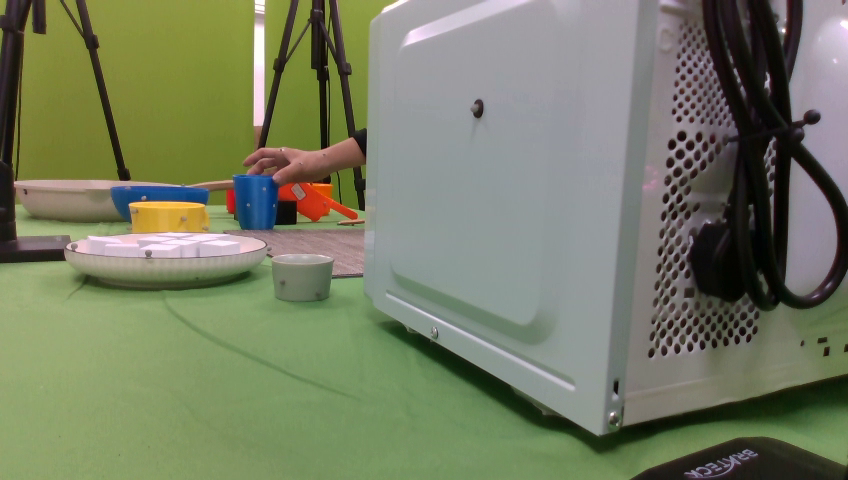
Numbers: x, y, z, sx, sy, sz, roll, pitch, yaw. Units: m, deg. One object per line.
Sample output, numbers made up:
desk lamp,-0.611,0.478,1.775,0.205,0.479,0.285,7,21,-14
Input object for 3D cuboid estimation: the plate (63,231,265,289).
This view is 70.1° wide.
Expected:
plate,-0.288,0.021,0.687,0.208,0.039,0.207,2,8,0

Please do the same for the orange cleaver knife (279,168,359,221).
orange cleaver knife,-0.236,-0.084,1.332,0.212,0.077,0.012,31,-9,-31

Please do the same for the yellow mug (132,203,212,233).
yellow mug,-0.356,-0.020,0.878,0.099,0.064,0.131,5,7,22

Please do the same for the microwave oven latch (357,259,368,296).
microwave oven latch,-0.019,0.031,0.528,0.079,0.029,0.030,-1,7,-25

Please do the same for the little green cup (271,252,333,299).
little green cup,-0.122,0.035,0.605,0.061,0.038,0.061,3,7,0

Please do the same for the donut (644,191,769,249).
donut,0.240,-0.017,0.518,0.099,0.048,0.099,2,4,0

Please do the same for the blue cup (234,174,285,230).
blue cup,-0.313,-0.072,1.142,0.093,0.100,0.092,1,11,0

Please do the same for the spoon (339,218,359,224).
spoon,-0.087,-0.041,1.268,0.193,0.021,0.041,3,20,13

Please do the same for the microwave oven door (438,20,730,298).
microwave oven door,0.181,-0.076,0.618,0.358,0.243,0.039,-2,8,-28

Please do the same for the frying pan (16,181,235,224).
frying pan,-0.553,-0.097,1.265,0.490,0.102,0.305,-10,13,-24

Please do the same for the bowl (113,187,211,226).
bowl,-0.436,-0.046,1.013,0.151,0.077,0.151,2,7,0

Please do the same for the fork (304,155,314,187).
fork,-0.268,-0.134,1.446,0.028,0.018,0.207,2,-36,-1

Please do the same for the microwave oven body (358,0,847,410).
microwave oven body,0.210,-0.051,0.471,0.444,0.260,0.324,-1,7,-28

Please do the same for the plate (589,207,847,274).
plate,0.246,-0.002,0.510,0.209,0.038,0.209,3,6,0
